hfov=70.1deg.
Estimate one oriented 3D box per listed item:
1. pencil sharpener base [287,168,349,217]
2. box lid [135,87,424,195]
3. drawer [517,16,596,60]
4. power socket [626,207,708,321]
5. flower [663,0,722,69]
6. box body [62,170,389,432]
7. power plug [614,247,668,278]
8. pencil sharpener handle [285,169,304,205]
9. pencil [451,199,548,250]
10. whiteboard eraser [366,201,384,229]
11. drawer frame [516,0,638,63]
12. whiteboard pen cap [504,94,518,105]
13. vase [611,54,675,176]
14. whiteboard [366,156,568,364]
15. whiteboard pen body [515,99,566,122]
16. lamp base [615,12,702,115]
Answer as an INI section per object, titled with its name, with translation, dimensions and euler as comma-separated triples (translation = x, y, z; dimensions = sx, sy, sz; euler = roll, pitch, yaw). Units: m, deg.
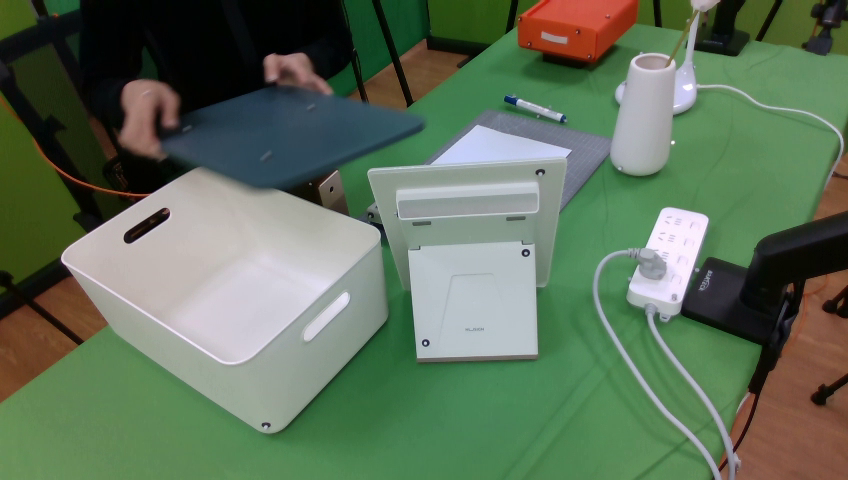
[pencil sharpener base]
translation = -0.180, -0.071, 1.019
dimensions = 0.076, 0.107, 0.061
euler = 17, 46, 26
[box lid]
translation = -0.206, -0.150, 0.830
dimensions = 0.368, 0.015, 0.264
euler = 22, 40, 41
[drawer]
translation = 0.353, -0.506, 1.405
dimensions = 0.193, 0.073, 0.212
euler = 23, 49, 32
[power socket]
translation = 0.359, 0.025, 0.886
dimensions = 0.072, 0.033, 0.227
euler = 16, 46, 26
[flower]
translation = 0.379, -0.261, 0.965
dimensions = 0.044, 0.362, 0.038
euler = 20, 53, 5
[box body]
translation = -0.255, 0.065, 0.827
dimensions = 0.361, 0.161, 0.255
euler = 21, 48, 29
[power plug]
translation = 0.306, 0.031, 0.851
dimensions = 0.072, 0.053, 0.035
euler = 24, 49, 33
[pencil sharpener handle]
translation = -0.227, -0.092, 1.031
dimensions = 0.030, 0.068, 0.036
euler = 17, 35, 26
[pencil]
translation = 0.125, -0.025, 0.993
dimensions = 0.195, 0.012, 0.012
euler = -26, 44, -19
[whiteboard eraser]
translation = -0.038, -0.038, 1.006
dimensions = 0.112, 0.042, 0.055
euler = 17, 47, 25
[drawer frame]
translation = 0.355, -0.508, 1.411
dimensions = 0.200, 0.083, 0.214
euler = 23, 51, 32
[whiteboard pen cap]
translation = 0.190, -0.299, 1.292
dimensions = 0.033, 0.018, 0.018
euler = 30, 52, 28
[vase]
translation = 0.377, -0.209, 1.031
dimensions = 0.098, 0.201, 0.097
euler = -3, 40, 3
[whiteboard]
translation = 0.059, 0.050, 0.738
dimensions = 0.217, 0.307, 0.143
euler = -2, 60, 6
[whiteboard pen body]
translation = 0.233, -0.274, 1.262
dimensions = 0.139, 0.017, 0.017
euler = 28, 51, 29
[lamp base]
translation = 0.484, -0.363, 1.211
dimensions = 0.180, 0.181, 0.159
euler = -15, 41, -13
